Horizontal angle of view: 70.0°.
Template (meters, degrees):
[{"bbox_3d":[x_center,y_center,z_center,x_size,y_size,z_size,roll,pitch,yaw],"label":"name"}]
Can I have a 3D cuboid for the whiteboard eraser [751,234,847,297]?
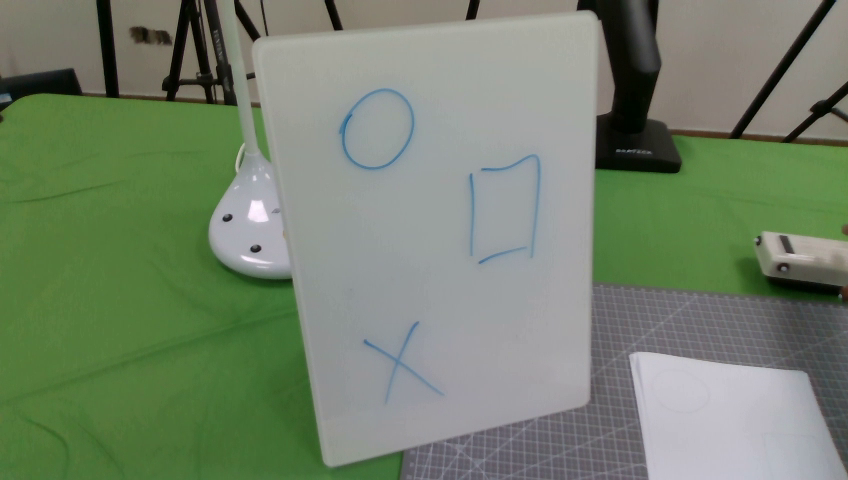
[{"bbox_3d":[0.396,0.027,0.612,0.112,0.042,0.055,9,41,8],"label":"whiteboard eraser"}]

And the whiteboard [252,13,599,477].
[{"bbox_3d":[0.003,-0.007,0.476,0.218,0.307,0.142,-9,21,-12],"label":"whiteboard"}]

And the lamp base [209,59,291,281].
[{"bbox_3d":[-0.155,-0.077,0.609,0.161,0.182,0.177,-29,46,-32],"label":"lamp base"}]
